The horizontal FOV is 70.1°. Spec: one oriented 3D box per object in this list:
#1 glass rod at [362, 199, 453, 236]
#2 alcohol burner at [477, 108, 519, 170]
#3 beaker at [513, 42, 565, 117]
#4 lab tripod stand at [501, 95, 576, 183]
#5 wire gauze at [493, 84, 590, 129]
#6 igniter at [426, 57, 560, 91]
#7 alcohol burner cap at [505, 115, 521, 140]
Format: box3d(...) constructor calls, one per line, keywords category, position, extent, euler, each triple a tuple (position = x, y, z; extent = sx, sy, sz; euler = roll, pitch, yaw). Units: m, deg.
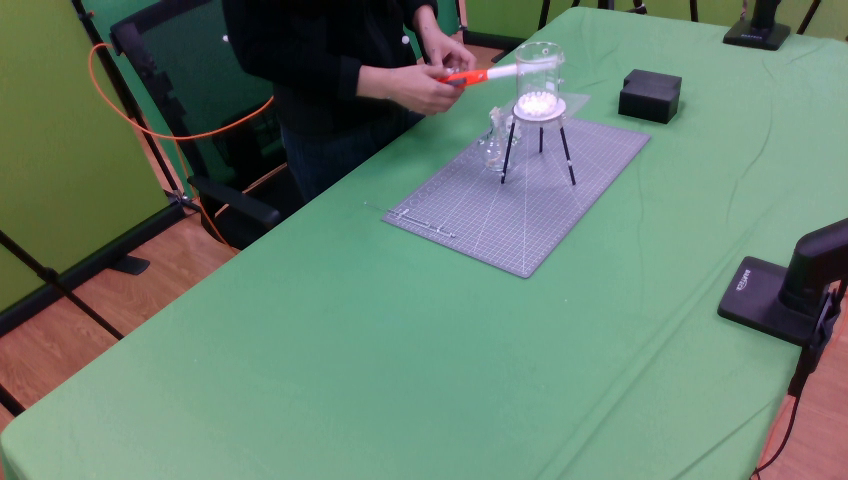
box3d(category="glass rod", position=(-0.031, -0.041, 1.041), extent=(0.198, 0.008, 0.008), euler=(22, 50, 31))
box3d(category="alcohol burner", position=(0.135, -0.188, 1.102), extent=(0.078, 0.119, 0.077), euler=(-4, 41, 4))
box3d(category="beaker", position=(0.187, -0.257, 0.981), extent=(0.083, 0.101, 0.074), euler=(21, 49, 29))
box3d(category="lab tripod stand", position=(0.204, -0.174, 1.057), extent=(0.148, 0.132, 0.147), euler=(-4, 40, 4))
box3d(category="wire gauze", position=(0.197, -0.223, 1.013), extent=(0.120, 0.011, 0.125), euler=(21, 46, 28))
box3d(category="igniter", position=(0.112, -0.297, 1.088), extent=(0.274, 0.025, 0.057), euler=(2, 23, 38))
box3d(category="alcohol burner cap", position=(0.175, -0.224, 1.193), extent=(0.034, 0.048, 0.033), euler=(-6, 40, 5))
